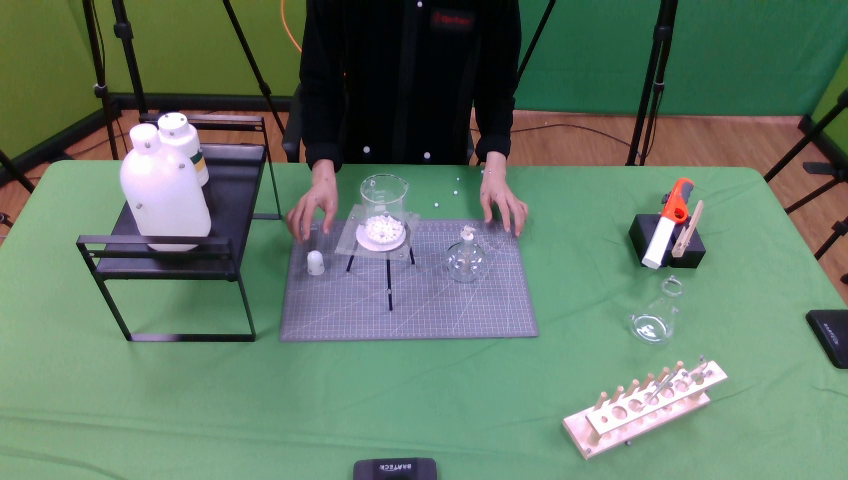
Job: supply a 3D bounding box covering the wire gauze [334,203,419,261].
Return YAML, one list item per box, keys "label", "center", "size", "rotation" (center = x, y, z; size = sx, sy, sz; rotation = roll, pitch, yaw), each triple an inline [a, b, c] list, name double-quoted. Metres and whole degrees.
- label: "wire gauze"
  center: [-0.079, -0.013, 1.031]
  size: [0.121, 0.011, 0.124]
  rotation: [8, 48, 7]

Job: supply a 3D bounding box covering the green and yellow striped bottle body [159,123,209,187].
- label: "green and yellow striped bottle body"
  center: [-0.395, -0.145, 0.989]
  size: [0.063, 0.120, 0.063]
  rotation: [2, 46, -2]

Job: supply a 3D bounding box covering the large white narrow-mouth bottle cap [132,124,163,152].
- label: "large white narrow-mouth bottle cap"
  center: [-0.371, -0.137, 0.813]
  size: [0.038, 0.024, 0.037]
  rotation: [3, 46, -3]

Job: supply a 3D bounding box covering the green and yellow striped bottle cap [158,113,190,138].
- label: "green and yellow striped bottle cap"
  center: [-0.393, -0.180, 0.951]
  size: [0.045, 0.020, 0.045]
  rotation: [2, 44, -2]

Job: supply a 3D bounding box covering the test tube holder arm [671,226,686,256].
- label: "test tube holder arm"
  center: [0.494, 0.001, 1.166]
  size: [0.010, 0.015, 0.087]
  rotation: [1, 36, 42]

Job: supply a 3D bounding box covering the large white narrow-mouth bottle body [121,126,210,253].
- label: "large white narrow-mouth bottle body"
  center: [-0.378, -0.077, 0.875]
  size: [0.102, 0.195, 0.101]
  rotation: [3, 46, -3]

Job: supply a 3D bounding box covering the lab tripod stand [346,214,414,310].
- label: "lab tripod stand"
  center: [-0.075, 0.030, 1.082]
  size: [0.148, 0.132, 0.147]
  rotation: [1, 47, -1]

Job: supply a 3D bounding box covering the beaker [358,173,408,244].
- label: "beaker"
  center: [-0.066, -0.050, 1.000]
  size: [0.084, 0.101, 0.073]
  rotation: [-18, 49, -20]

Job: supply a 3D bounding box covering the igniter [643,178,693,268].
- label: "igniter"
  center: [0.488, -0.042, 1.205]
  size: [0.057, 0.025, 0.276]
  rotation: [30, 51, 11]

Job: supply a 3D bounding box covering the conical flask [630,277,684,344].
- label: "conical flask"
  center: [0.408, 0.117, 1.045]
  size: [0.075, 0.122, 0.075]
  rotation: [2, 46, -2]

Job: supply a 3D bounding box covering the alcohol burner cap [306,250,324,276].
- label: "alcohol burner cap"
  center: [-0.204, 0.041, 1.125]
  size: [0.034, 0.048, 0.033]
  rotation: [2, 46, -2]

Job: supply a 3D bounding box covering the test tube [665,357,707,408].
- label: "test tube"
  center: [0.387, 0.215, 0.905]
  size: [0.017, 0.151, 0.017]
  rotation: [1, 52, -1]

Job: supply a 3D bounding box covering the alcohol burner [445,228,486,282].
- label: "alcohol burner"
  center: [0.077, 0.021, 1.115]
  size: [0.078, 0.120, 0.077]
  rotation: [1, 48, -1]

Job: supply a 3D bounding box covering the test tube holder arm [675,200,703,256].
- label: "test tube holder arm"
  center: [0.523, -0.025, 1.190]
  size: [0.013, 0.015, 0.178]
  rotation: [1, 36, 42]

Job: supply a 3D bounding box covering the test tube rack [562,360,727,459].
- label: "test tube rack"
  center: [0.341, 0.247, 0.940]
  size: [0.243, 0.085, 0.066]
  rotation: [-16, 49, -19]

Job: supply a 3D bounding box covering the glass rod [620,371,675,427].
- label: "glass rod"
  center: [0.315, 0.230, 0.863]
  size: [0.008, 0.200, 0.008]
  rotation: [3, 54, -3]
